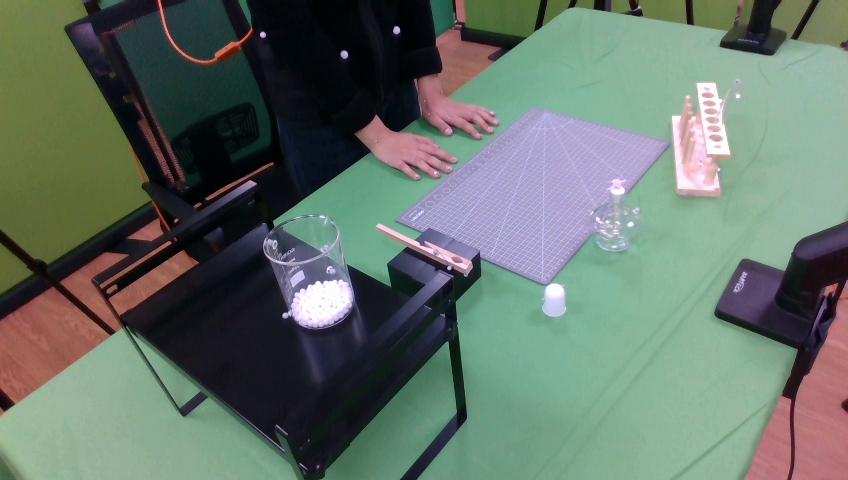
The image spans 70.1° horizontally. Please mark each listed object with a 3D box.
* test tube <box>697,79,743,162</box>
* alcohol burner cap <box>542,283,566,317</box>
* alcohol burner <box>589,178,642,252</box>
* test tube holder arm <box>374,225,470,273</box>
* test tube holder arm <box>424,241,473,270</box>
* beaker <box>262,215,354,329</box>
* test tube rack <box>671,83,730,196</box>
[{"bbox_3d":[0.486,-0.194,0.998,0.017,0.150,0.017,5,40,-4],"label":"test tube"},{"bbox_3d":[0.181,0.081,0.839,0.034,0.048,0.033,-4,40,4],"label":"alcohol burner cap"},{"bbox_3d":[0.290,-0.042,0.910,0.078,0.119,0.077,-6,40,5],"label":"alcohol burner"},{"bbox_3d":[-0.006,0.012,0.893,0.177,0.015,0.013,21,50,32],"label":"test tube holder arm"},{"bbox_3d":[0.033,0.022,0.872,0.087,0.015,0.010,22,50,32],"label":"test tube holder arm"},{"bbox_3d":[-0.112,0.034,0.616,0.073,0.101,0.084,13,44,23],"label":"beaker"},{"bbox_3d":[0.482,-0.184,1.067,0.066,0.085,0.242,5,42,15],"label":"test tube rack"}]
